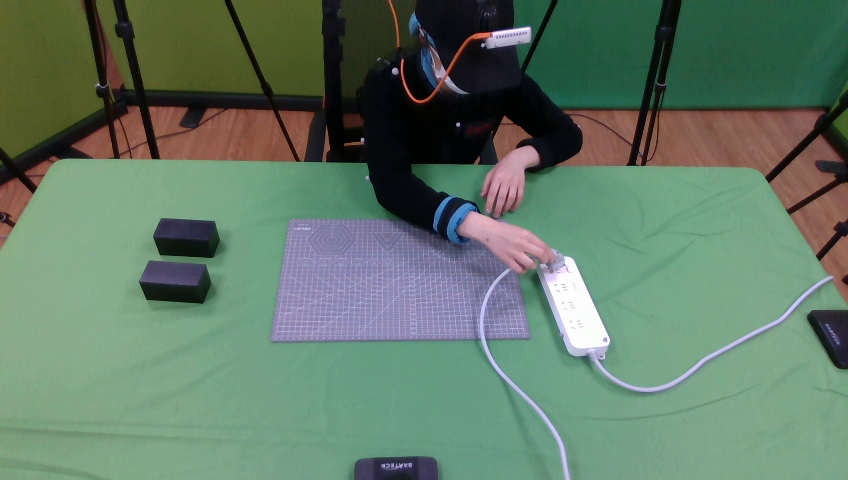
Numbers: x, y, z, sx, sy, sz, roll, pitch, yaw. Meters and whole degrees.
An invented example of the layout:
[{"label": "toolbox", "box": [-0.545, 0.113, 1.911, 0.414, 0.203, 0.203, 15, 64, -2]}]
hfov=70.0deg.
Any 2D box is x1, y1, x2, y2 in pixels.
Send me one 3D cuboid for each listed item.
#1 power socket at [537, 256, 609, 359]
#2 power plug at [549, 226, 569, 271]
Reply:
[{"label": "power socket", "box": [0.266, 0.115, 1.097, 0.072, 0.033, 0.225, -5, 47, -8]}, {"label": "power plug", "box": [0.241, 0.019, 1.099, 0.035, 0.073, 0.052, -9, 24, 14]}]
